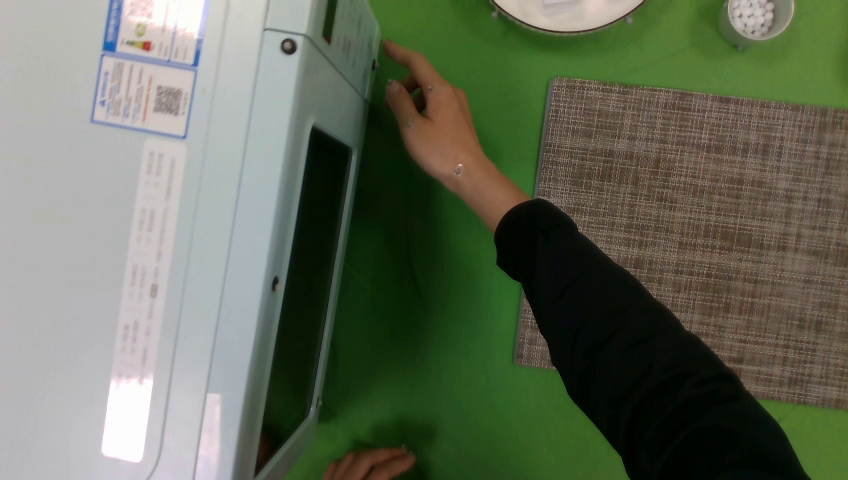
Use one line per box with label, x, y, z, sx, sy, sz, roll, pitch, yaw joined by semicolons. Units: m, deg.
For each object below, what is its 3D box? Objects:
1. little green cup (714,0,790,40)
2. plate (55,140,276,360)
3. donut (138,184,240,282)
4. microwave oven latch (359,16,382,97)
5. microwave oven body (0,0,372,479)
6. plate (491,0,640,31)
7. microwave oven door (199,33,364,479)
little green cup;0.316;-0.226;0.591;0.061;0.038;0.061;0;93;5
plate;-0.243;0.010;0.582;0.209;0.038;0.209;0;94;3
donut;-0.222;-0.005;0.574;0.099;0.048;0.099;4;115;10
microwave oven latch;-0.059;-0.184;0.602;0.030;0.029;0.079;-4;94;4
microwave oven body;-0.250;-0.035;0.528;0.326;0.260;0.442;10;95;3
plate;0.141;-0.309;0.598;0.207;0.039;0.207;0;94;4
microwave oven door;-0.115;0.033;0.518;0.039;0.244;0.356;10;94;4
